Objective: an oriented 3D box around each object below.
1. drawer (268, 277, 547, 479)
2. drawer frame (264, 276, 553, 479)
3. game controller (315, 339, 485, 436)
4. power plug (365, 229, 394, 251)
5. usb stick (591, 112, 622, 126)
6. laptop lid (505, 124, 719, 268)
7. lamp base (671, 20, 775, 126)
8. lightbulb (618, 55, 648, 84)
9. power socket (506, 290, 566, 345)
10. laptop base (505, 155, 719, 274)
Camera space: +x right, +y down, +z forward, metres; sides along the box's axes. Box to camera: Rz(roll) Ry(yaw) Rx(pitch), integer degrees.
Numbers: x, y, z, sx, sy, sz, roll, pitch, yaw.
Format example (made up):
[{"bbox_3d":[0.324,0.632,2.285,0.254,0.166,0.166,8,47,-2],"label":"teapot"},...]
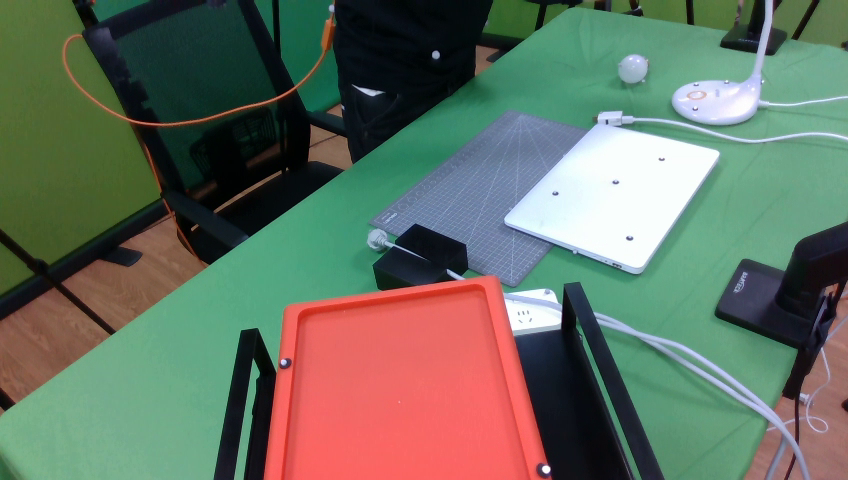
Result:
[{"bbox_3d":[-0.018,0.137,0.493,0.195,0.073,0.210,-7,41,-1],"label":"drawer"},{"bbox_3d":[-0.016,0.137,0.490,0.202,0.083,0.212,-8,41,-2],"label":"drawer frame"},{"bbox_3d":[-0.021,0.119,0.534,0.155,0.052,0.096,-3,39,1],"label":"game controller"},{"bbox_3d":[-0.067,0.010,0.954,0.035,0.053,0.072,-42,53,2],"label":"power plug"},{"bbox_3d":[0.360,-0.239,1.196,0.059,0.021,0.027,4,42,27],"label":"usb stick"},{"bbox_3d":[0.323,-0.093,1.021,0.240,0.013,0.358,23,49,32],"label":"laptop lid"},{"bbox_3d":[0.581,-0.332,1.154,0.179,0.181,0.160,2,42,7],"label":"lamp base"},{"bbox_3d":[0.464,-0.376,1.324,0.059,0.059,0.108,23,34,30],"label":"lightbulb"},{"bbox_3d":[0.081,0.112,0.822,0.227,0.033,0.072,-7,41,0],"label":"power socket"},{"bbox_3d":[0.326,-0.083,1.028,0.233,0.023,0.355,21,48,32],"label":"laptop base"}]
